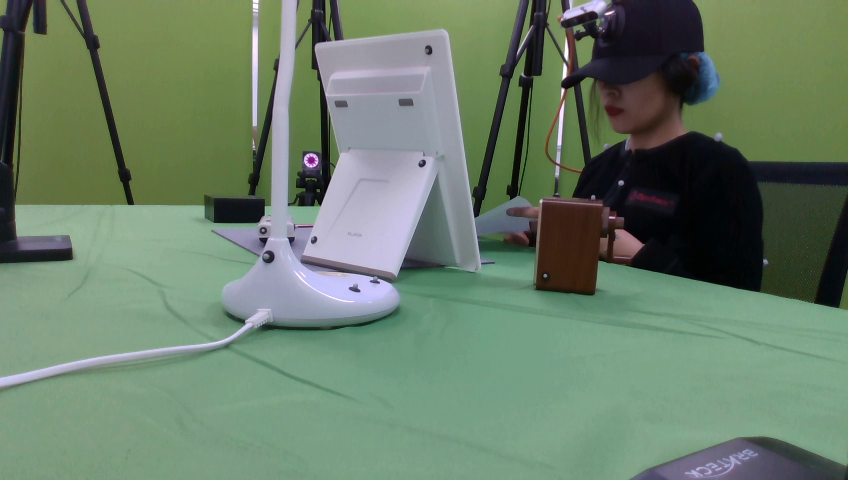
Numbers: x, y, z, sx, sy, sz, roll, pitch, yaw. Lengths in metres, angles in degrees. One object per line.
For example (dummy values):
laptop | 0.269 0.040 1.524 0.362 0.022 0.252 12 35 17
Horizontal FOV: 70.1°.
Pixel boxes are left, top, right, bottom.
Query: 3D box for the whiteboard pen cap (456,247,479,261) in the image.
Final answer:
whiteboard pen cap | 0.060 0.020 0.851 0.033 0.018 0.018 10 10 37

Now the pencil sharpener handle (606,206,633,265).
pencil sharpener handle | 0.222 -0.004 0.683 0.030 0.068 0.036 5 21 16

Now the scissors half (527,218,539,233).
scissors half | 0.206 -0.030 1.104 0.013 0.040 0.176 7 1 22

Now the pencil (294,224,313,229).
pencil | -0.221 -0.028 1.211 0.195 0.012 0.012 -5 10 -34

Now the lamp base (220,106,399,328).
lamp base | -0.101 -0.023 0.531 0.160 0.180 0.179 4 10 10

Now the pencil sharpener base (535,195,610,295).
pencil sharpener base | 0.172 0.005 0.695 0.076 0.107 0.061 5 7 16

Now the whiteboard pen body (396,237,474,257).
whiteboard pen body | 0.014 0.012 0.886 0.140 0.017 0.017 9 10 38

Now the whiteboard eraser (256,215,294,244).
whiteboard eraser | -0.232 -0.016 0.951 0.056 0.042 0.112 2 7 -12

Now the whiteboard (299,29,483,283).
whiteboard | -0.074 -0.082 0.742 0.216 0.305 0.144 9 30 38

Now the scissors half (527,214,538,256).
scissors half | 0.201 -0.010 1.101 0.012 0.040 0.176 13 -19 23
